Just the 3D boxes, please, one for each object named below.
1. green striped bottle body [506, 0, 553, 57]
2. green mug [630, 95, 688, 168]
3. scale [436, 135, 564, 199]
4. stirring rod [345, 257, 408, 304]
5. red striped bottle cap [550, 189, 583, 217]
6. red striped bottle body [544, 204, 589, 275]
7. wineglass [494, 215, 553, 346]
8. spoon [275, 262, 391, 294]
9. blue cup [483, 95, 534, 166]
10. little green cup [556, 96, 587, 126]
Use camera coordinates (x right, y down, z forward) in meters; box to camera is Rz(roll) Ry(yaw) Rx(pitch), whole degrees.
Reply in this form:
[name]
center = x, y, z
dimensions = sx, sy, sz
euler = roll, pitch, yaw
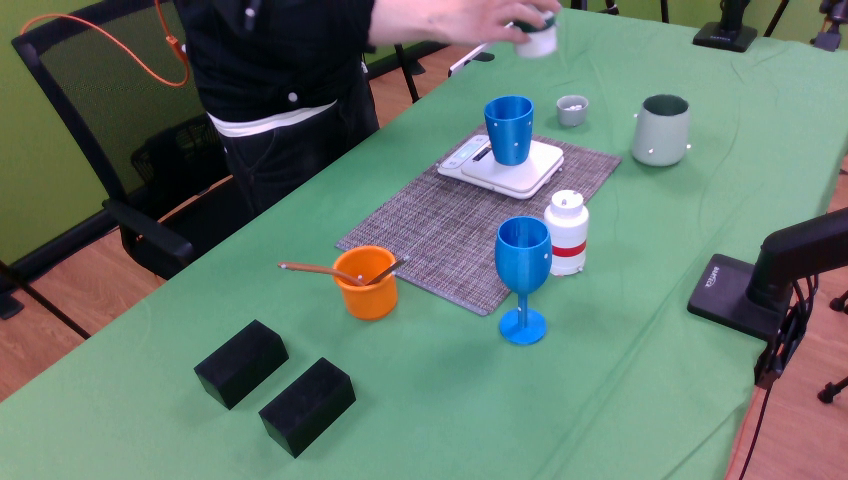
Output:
[green striped bottle body]
center = 0.152, -0.333, 0.872
dimensions = 0.063, 0.120, 0.063
euler = -8, 38, 7
[green mug]
center = 0.421, -0.201, 1.081
dimensions = 0.092, 0.105, 0.125
euler = 5, 42, 15
[scale]
center = 0.137, -0.142, 1.101
dimensions = 0.199, 0.032, 0.149
euler = 22, 48, 30
[stirring rod]
center = -0.067, 0.057, 0.815
dimensions = 0.014, 0.175, 0.006
euler = -25, 82, -38
[red striped bottle cap]
center = 0.199, -0.052, 0.843
dimensions = 0.044, 0.018, 0.044
euler = -2, 42, 2
[red striped bottle body]
center = 0.206, -0.011, 0.877
dimensions = 0.063, 0.120, 0.062
euler = -5, 41, 4
[wineglass]
center = 0.127, 0.055, 0.770
dimensions = 0.074, 0.173, 0.073
euler = -4, 40, 4
[spoon]
center = -0.120, 0.050, 0.830
dimensions = 0.041, 0.195, 0.021
euler = 31, 97, 45
[blue cup]
center = 0.150, -0.186, 1.051
dimensions = 0.092, 0.101, 0.092
euler = -6, 41, 6
[little green cup]
center = 0.295, -0.258, 1.214
dimensions = 0.061, 0.039, 0.061
euler = -4, 42, 4
